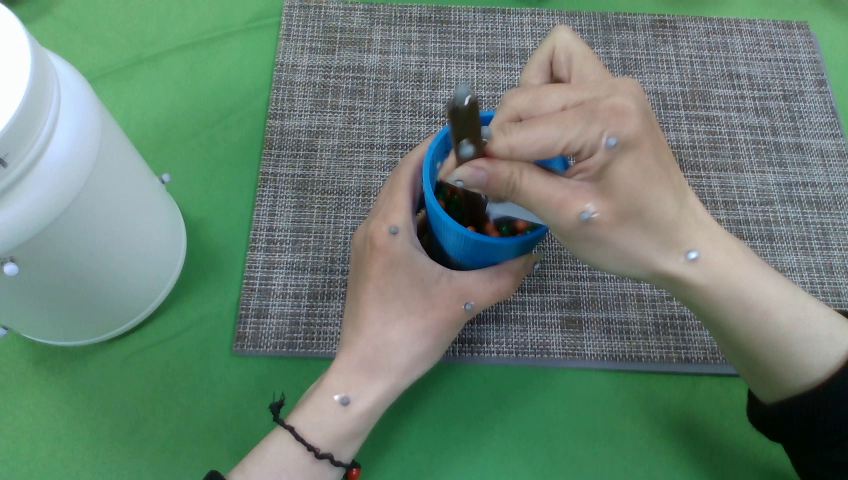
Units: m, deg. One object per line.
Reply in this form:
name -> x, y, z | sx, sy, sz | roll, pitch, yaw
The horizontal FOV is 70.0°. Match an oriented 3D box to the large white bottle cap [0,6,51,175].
large white bottle cap -> -0.222, -0.061, 0.257 | 0.115, 0.018, 0.114 | 1, 66, -2

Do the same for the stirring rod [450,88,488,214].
stirring rod -> 0.026, -0.026, 0.314 | 0.014, 0.177, 0.006 | -27, 70, -4

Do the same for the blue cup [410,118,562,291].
blue cup -> 0.035, -0.012, 0.383 | 0.092, 0.101, 0.092 | 0, 66, 0

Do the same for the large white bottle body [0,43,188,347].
large white bottle body -> -0.224, -0.025, 0.334 | 0.131, 0.186, 0.129 | 1, 66, -2
